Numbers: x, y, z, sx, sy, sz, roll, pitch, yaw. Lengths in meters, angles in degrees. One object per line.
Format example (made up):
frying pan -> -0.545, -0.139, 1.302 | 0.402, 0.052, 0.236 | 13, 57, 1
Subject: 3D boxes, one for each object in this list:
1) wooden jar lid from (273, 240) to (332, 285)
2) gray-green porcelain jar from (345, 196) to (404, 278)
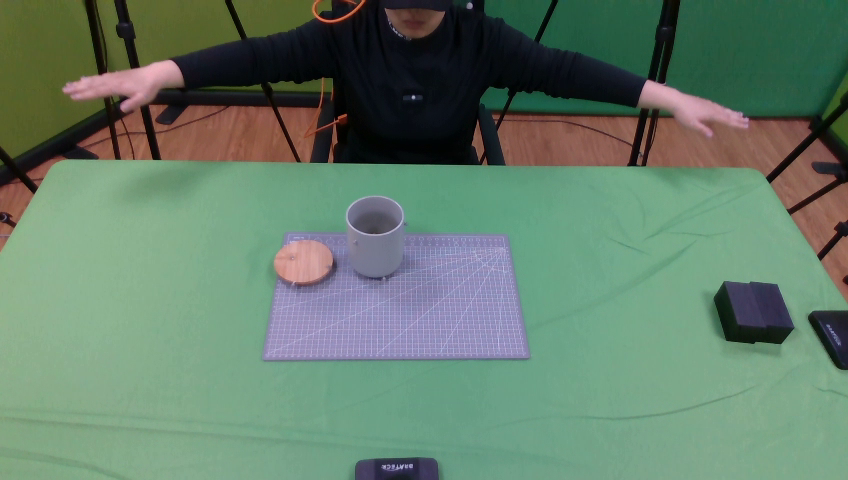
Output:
wooden jar lid -> -0.227, 0.044, 1.137 | 0.108, 0.021, 0.107 | 3, 47, -3
gray-green porcelain jar -> -0.091, -0.001, 1.117 | 0.106, 0.127, 0.105 | 2, 46, -2
